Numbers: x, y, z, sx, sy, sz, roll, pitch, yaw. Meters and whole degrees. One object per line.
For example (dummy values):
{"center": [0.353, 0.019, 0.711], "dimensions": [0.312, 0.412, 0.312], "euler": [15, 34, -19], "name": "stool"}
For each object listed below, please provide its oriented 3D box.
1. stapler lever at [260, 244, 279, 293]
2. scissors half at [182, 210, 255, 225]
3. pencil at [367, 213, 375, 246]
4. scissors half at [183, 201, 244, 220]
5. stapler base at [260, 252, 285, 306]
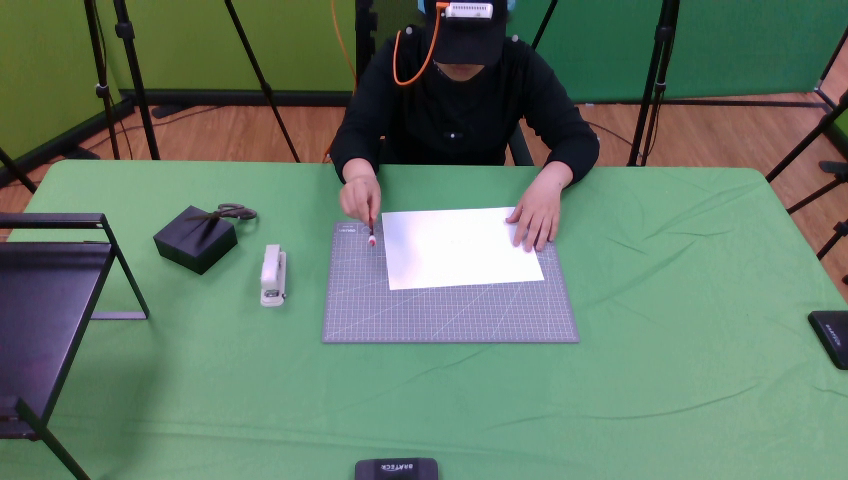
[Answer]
{"center": [-0.279, 0.045, 1.096], "dimensions": [0.027, 0.040, 0.117], "euler": [-2, 44, -9], "name": "stapler lever"}
{"center": [-0.389, -0.042, 1.158], "dimensions": [0.040, 0.013, 0.175], "euler": [40, 21, 22], "name": "scissors half"}
{"center": [-0.094, -0.022, 1.049], "dimensions": [0.012, 0.012, 0.193], "euler": [-2, 17, -6], "name": "pencil"}
{"center": [-0.405, -0.054, 1.163], "dimensions": [0.040, 0.013, 0.175], "euler": [29, 18, 7], "name": "scissors half"}
{"center": [-0.279, 0.064, 1.113], "dimensions": [0.041, 0.024, 0.129], "euler": [-2, 44, -9], "name": "stapler base"}
